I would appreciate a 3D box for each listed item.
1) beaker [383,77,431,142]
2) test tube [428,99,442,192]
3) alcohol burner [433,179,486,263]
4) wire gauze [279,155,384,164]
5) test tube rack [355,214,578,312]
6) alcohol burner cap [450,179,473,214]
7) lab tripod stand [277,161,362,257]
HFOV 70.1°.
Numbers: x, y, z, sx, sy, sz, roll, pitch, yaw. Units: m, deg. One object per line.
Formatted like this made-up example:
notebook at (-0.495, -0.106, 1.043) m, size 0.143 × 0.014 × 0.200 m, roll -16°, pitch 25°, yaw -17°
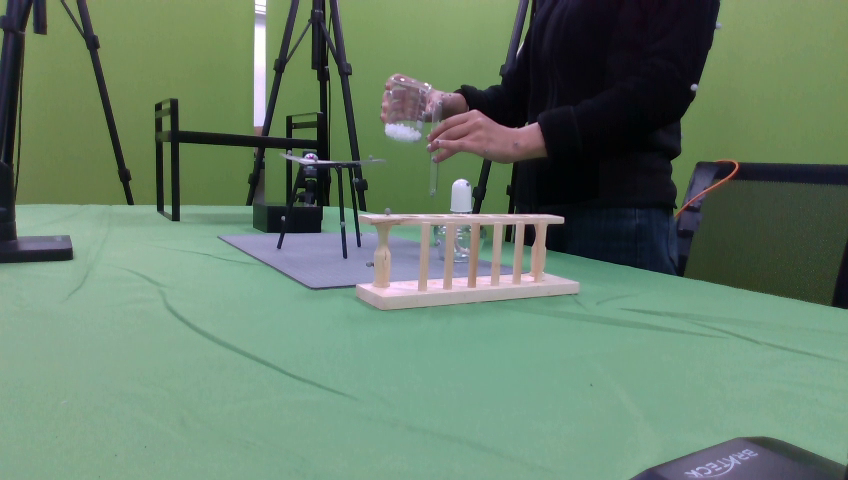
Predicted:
beaker at (-0.029, -0.226, 1.053) m, size 0.083 × 0.100 × 0.074 m, roll 26°, pitch 26°, yaw 37°
test tube at (0.018, -0.154, 0.987) m, size 0.017 × 0.150 × 0.017 m, roll 3°, pitch 5°, yaw 0°
alcohol burner at (0.051, -0.027, 0.862) m, size 0.078 × 0.119 × 0.078 m, roll 2°, pitch 6°, yaw 0°
wire gauze at (-0.134, -0.114, 0.875) m, size 0.122 × 0.011 × 0.124 m, roll -1°, pitch 8°, yaw -30°
test tube rack at (0.053, 0.018, 0.641) m, size 0.243 × 0.085 × 0.066 m, roll -1°, pitch 8°, yaw -29°
alcohol burner cap at (0.053, -0.062, 0.859) m, size 0.034 × 0.048 × 0.034 m, roll 0°, pitch 15°, yaw 0°
lab tripod stand at (-0.142, -0.049, 0.884) m, size 0.148 × 0.131 × 0.148 m, roll 1°, pitch 9°, yaw 0°
